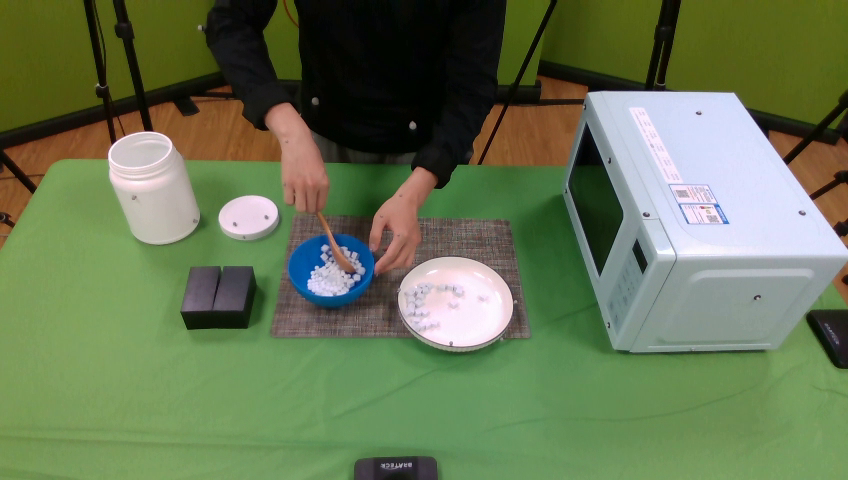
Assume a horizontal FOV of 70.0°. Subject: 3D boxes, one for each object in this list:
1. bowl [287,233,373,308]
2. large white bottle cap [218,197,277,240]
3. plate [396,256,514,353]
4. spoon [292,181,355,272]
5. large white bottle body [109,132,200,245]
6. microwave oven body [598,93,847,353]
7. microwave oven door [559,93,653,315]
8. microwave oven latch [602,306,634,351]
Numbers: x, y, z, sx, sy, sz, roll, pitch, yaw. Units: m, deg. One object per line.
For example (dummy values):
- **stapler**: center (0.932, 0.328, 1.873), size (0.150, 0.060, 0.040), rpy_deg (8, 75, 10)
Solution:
- **bowl**: center (-0.165, 0.068, 1.078), size (0.151, 0.077, 0.150), rpy_deg (3, 45, -3)
- **large white bottle cap**: center (-0.355, -0.045, 1.220), size (0.115, 0.018, 0.114), rpy_deg (2, 45, -2)
- **plate**: center (0.053, 0.116, 1.077), size (0.209, 0.038, 0.208), rpy_deg (2, 46, -2)
- **spoon**: center (-0.180, -0.022, 1.078), size (0.021, 0.041, 0.194), rpy_deg (-32, 96, -30)
- **large white bottle body**: center (-0.506, -0.097, 1.141), size (0.131, 0.185, 0.130), rpy_deg (2, 46, -2)
- **microwave oven body**: center (0.475, -0.041, 1.109), size (0.326, 0.261, 0.438), rpy_deg (-1, 45, -4)
- **microwave oven door**: center (0.327, -0.074, 1.123), size (0.039, 0.245, 0.353), rpy_deg (-1, 46, -5)
- **microwave oven latch**: center (0.332, 0.153, 1.044), size (0.030, 0.029, 0.078), rpy_deg (0, 45, -4)
